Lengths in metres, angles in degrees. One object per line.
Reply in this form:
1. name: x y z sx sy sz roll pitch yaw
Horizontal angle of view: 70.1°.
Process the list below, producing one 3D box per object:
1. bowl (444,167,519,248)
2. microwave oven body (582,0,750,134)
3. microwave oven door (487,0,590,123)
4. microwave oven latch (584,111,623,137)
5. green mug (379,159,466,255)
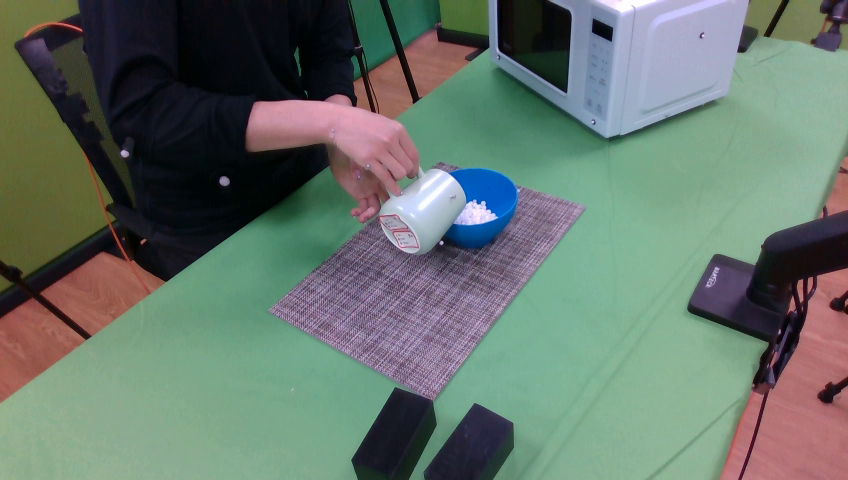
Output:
1. bowl: 0.076 -0.041 0.958 0.151 0.077 0.150 -4 41 4
2. microwave oven body: 0.382 -0.445 1.246 0.327 0.261 0.437 -22 42 -16
3. microwave oven door: 0.232 -0.420 1.231 0.039 0.245 0.352 -22 43 -16
4. microwave oven latch: 0.337 -0.222 1.142 0.030 0.029 0.078 -21 42 -14
5. green mug: -0.010 -0.053 0.844 0.105 0.126 0.092 -45 24 -29
